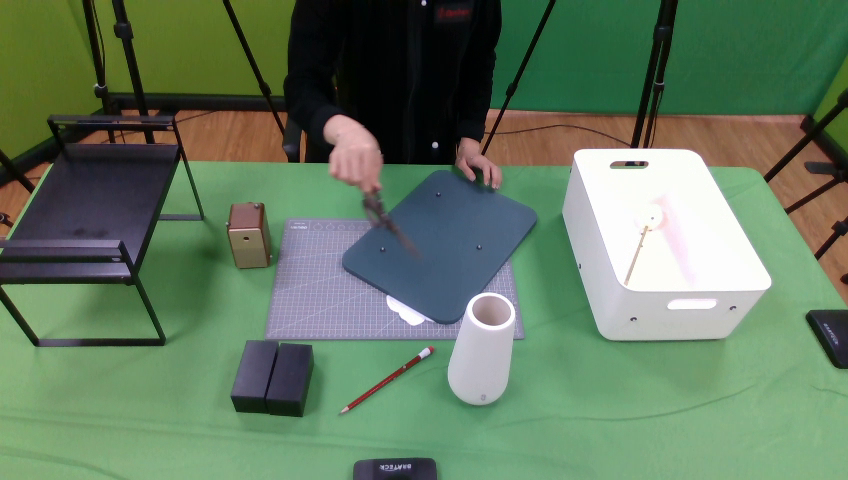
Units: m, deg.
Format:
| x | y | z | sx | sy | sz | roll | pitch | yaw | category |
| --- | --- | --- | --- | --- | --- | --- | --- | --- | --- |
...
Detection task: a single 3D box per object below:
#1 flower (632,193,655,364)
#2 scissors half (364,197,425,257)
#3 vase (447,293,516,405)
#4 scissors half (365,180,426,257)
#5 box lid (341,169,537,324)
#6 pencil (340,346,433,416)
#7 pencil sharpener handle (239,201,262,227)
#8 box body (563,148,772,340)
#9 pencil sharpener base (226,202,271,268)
| x | y | z | sx | sy | sz | roll | pitch | yaw | category |
| --- | --- | --- | --- | --- | --- | --- | --- | --- | --- |
| 0.422 | 0.068 | 1.187 | 0.038 | 0.044 | 0.360 | 21 | 65 | -18 | flower |
| -0.045 | -0.018 | 0.922 | 0.013 | 0.040 | 0.174 | -22 | 39 | -25 | scissors half |
| 0.091 | 0.169 | 0.921 | 0.098 | 0.201 | 0.097 | 3 | 47 | -3 | vase |
| -0.043 | -0.034 | 0.909 | 0.013 | 0.040 | 0.174 | -18 | 54 | -29 | scissors half |
| 0.038 | -0.004 | 1.210 | 0.262 | 0.015 | 0.371 | 27 | 49 | 21 | box lid |
| -0.058 | 0.227 | 0.984 | 0.194 | 0.012 | 0.012 | -32 | 56 | -29 | pencil |
| -0.325 | -0.055 | 1.149 | 0.036 | 0.068 | 0.030 | -13 | 46 | 4 | pencil sharpener handle |
| 0.421 | 0.003 | 1.130 | 0.254 | 0.161 | 0.361 | 0 | 46 | -5 | box body |
| -0.323 | -0.010 | 1.123 | 0.061 | 0.107 | 0.076 | -3 | 46 | -6 | pencil sharpener base |
